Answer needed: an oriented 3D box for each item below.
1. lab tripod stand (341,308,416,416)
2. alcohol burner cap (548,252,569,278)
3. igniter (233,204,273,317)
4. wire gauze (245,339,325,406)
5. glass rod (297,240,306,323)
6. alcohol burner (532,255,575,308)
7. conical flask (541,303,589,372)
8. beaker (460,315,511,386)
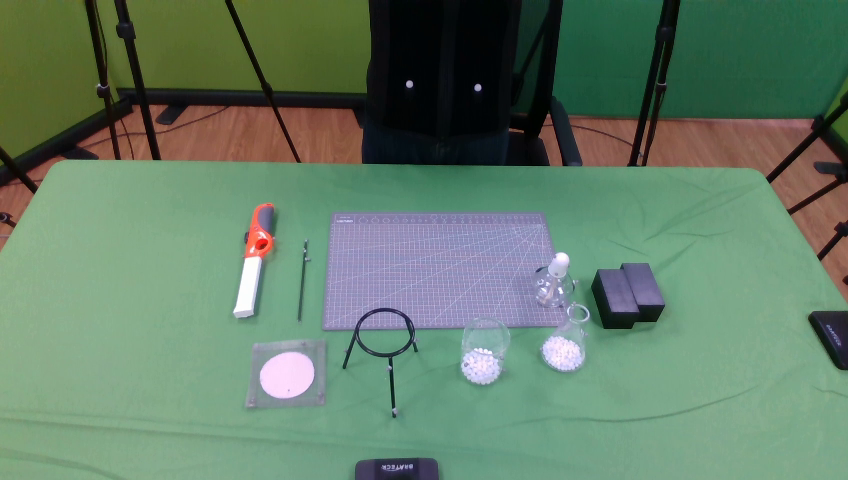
[{"bbox_3d":[-0.061,0.177,0.946,0.148,0.132,0.147,2,44,-2],"label":"lab tripod stand"},{"bbox_3d":[0.238,0.042,1.060,0.034,0.048,0.033,1,52,-2],"label":"alcohol burner cap"},{"bbox_3d":[-0.321,0.029,1.142,0.057,0.025,0.274,-7,46,3],"label":"igniter"},{"bbox_3d":[-0.224,0.215,0.984,0.125,0.011,0.120,-2,46,-5],"label":"wire gauze"},{"bbox_3d":[-0.227,0.072,1.122,0.008,0.008,0.198,-2,46,-5],"label":"glass rod"},{"bbox_3d":[0.235,0.066,1.087,0.078,0.119,0.077,4,45,-3],"label":"alcohol burner"},{"bbox_3d":[0.240,0.156,0.998,0.075,0.122,0.075,2,46,-2],"label":"conical flask"},{"bbox_3d":[0.094,0.183,0.977,0.084,0.101,0.073,-20,51,-21],"label":"beaker"}]
